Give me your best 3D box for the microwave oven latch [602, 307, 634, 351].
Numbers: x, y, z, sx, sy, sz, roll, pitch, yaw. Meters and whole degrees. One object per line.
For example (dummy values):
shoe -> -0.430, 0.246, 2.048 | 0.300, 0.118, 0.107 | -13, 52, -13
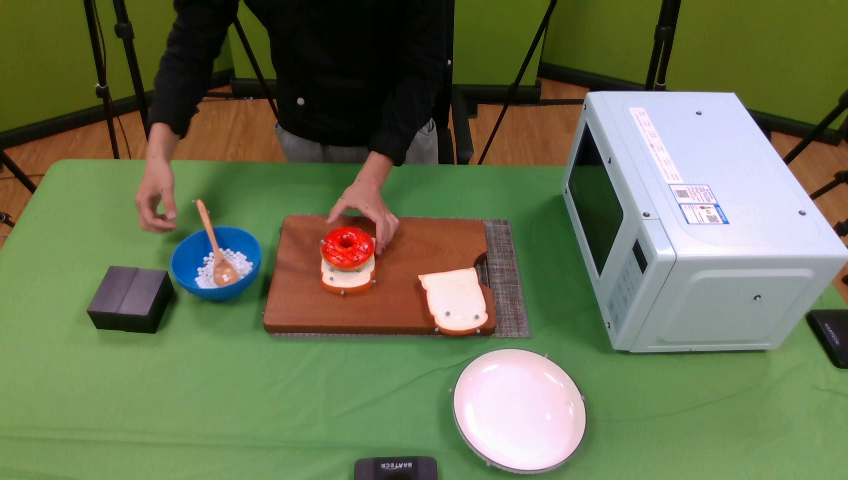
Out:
microwave oven latch -> 0.332, 0.153, 1.044 | 0.030, 0.029, 0.078 | 0, 45, -4

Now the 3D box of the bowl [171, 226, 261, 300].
bowl -> -0.363, 0.055, 1.080 | 0.151, 0.077, 0.150 | 2, 45, -2

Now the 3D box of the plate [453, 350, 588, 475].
plate -> 0.147, 0.267, 0.943 | 0.208, 0.039, 0.206 | 2, 45, -2

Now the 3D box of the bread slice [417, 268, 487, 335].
bread slice -> 0.055, 0.107, 1.063 | 0.107, 0.018, 0.133 | -9, 49, -12

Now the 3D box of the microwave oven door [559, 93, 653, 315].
microwave oven door -> 0.327, -0.074, 1.123 | 0.039, 0.245, 0.353 | -1, 46, -5

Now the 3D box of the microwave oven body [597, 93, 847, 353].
microwave oven body -> 0.475, -0.041, 1.109 | 0.326, 0.261, 0.438 | -1, 45, -4

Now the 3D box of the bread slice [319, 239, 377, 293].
bread slice -> -0.140, 0.044, 1.111 | 0.105, 0.019, 0.130 | 0, 44, -3

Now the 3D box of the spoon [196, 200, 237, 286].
spoon -> -0.378, 0.003, 1.086 | 0.042, 0.022, 0.192 | -15, 67, -24

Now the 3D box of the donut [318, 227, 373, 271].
donut -> -0.142, 0.017, 1.095 | 0.099, 0.048, 0.098 | 2, 44, -2
